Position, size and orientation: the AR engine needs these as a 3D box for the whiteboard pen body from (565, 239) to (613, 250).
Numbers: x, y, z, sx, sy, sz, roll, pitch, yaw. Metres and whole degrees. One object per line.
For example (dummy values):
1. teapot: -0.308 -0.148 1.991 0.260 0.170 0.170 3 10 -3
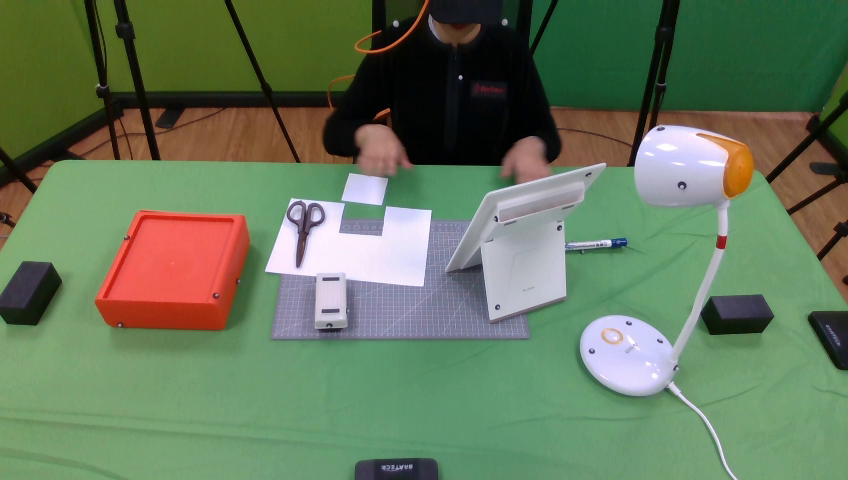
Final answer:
1. whiteboard pen body: 0.331 0.008 1.211 0.141 0.017 0.017 -5 47 -4

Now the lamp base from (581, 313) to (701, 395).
1. lamp base: 0.361 0.144 0.972 0.178 0.181 0.160 34 53 23

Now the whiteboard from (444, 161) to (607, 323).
1. whiteboard: 0.186 0.025 1.029 0.217 0.306 0.143 -14 68 -18

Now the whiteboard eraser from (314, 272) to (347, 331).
1. whiteboard eraser: -0.165 0.107 1.063 0.055 0.042 0.112 -4 47 -5

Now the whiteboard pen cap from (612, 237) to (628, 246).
1. whiteboard pen cap: 0.390 0.004 1.215 0.033 0.018 0.018 -7 47 -2

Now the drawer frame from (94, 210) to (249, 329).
1. drawer frame: -0.434 0.048 1.076 0.202 0.083 0.212 2 47 -3

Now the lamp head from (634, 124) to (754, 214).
1. lamp head: 0.351 -0.089 0.776 0.112 0.113 0.122 -30 30 -28

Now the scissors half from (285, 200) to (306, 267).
1. scissors half: -0.251 -0.014 1.192 0.040 0.013 0.174 1 49 -17

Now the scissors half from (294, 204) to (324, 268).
1. scissors half: -0.231 -0.010 1.197 0.040 0.013 0.174 20 45 -7

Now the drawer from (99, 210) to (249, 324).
1. drawer: -0.435 0.044 1.081 0.194 0.073 0.210 3 47 -2
